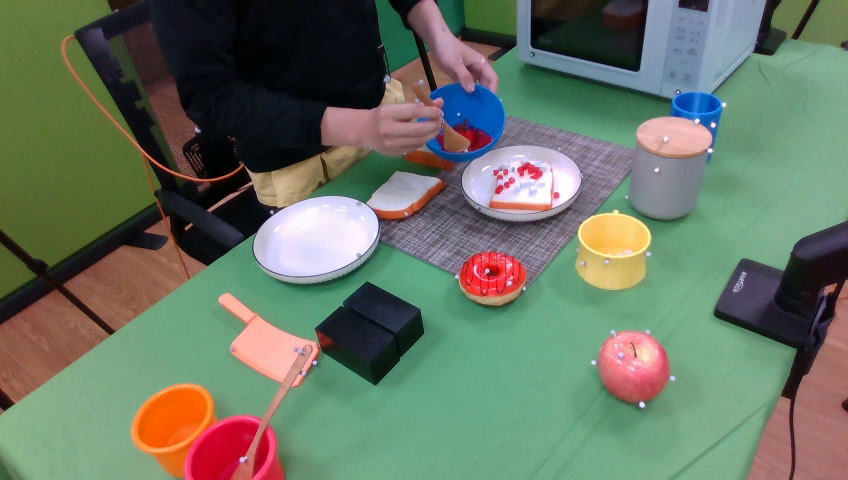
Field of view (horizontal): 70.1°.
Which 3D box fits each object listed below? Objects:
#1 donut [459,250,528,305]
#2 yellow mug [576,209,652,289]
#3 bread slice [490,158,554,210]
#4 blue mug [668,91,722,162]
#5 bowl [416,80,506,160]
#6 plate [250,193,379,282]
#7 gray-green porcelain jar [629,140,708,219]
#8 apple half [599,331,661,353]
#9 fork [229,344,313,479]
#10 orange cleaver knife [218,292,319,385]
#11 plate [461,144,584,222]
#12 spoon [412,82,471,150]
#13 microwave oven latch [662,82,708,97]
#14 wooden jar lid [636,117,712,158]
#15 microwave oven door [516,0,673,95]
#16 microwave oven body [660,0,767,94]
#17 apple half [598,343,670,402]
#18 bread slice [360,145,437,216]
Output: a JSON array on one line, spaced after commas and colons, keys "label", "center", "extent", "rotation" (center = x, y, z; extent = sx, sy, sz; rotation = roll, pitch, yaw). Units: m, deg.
[{"label": "donut", "center": [0.100, 0.053, 0.872], "extent": [0.099, 0.048, 0.098], "rotation": [-5, 40, 4]}, {"label": "yellow mug", "center": [0.279, 0.004, 0.893], "extent": [0.099, 0.064, 0.130], "rotation": [5, 42, 14]}, {"label": "bread slice", "center": [0.173, -0.100, 1.047], "extent": [0.104, 0.019, 0.131], "rotation": [4, 43, 12]}, {"label": "blue mug", "center": [0.474, -0.207, 1.079], "extent": [0.082, 0.106, 0.116], "rotation": [4, 42, 13]}, {"label": "bowl", "center": [0.065, -0.192, 1.040], "extent": [0.151, 0.077, 0.150], "rotation": [-2, 64, 4]}, {"label": "plate", "center": [-0.174, -0.001, 0.984], "extent": [0.209, 0.038, 0.208], "rotation": [-3, 40, 3]}, {"label": "gray-green porcelain jar", "center": [0.383, -0.104, 0.958], "extent": [0.106, 0.127, 0.105], "rotation": [-4, 41, 4]}, {"label": "apple half", "center": [0.249, 0.134, 0.738], "extent": [0.081, 0.081, 0.032], "rotation": [-1, 46, 7]}, {"label": "fork", "center": [-0.173, 0.205, 0.662], "extent": [0.028, 0.019, 0.207], "rotation": [29, 94, 35]}, {"label": "orange cleaver knife", "center": [-0.235, 0.136, 0.850], "extent": [0.209, 0.012, 0.077], "rotation": [25, 56, 30]}, {"label": "plate", "center": [0.167, -0.095, 1.040], "extent": [0.207, 0.039, 0.206], "rotation": [-4, 40, 4]}, {"label": "spoon", "center": [0.023, -0.174, 0.867], "extent": [0.041, 0.195, 0.021], "rotation": [-12, 65, 20]}, {"label": "microwave oven latch", "center": [0.518, -0.298, 1.203], "extent": [0.078, 0.029, 0.030], "rotation": [28, 53, 35]}, {"label": "wooden jar lid", "center": [0.377, -0.151, 0.917], "extent": [0.108, 0.021, 0.108], "rotation": [-2, 42, 2]}, {"label": "microwave oven door", "center": [0.344, -0.458, 1.257], "extent": [0.353, 0.245, 0.039], "rotation": [26, 52, 33]}, {"label": "microwave oven body", "center": [0.473, -0.517, 1.314], "extent": [0.438, 0.261, 0.327], "rotation": [26, 51, 34]}, {"label": "apple half", "center": [0.247, 0.161, 0.710], "extent": [0.081, 0.075, 0.053], "rotation": [2, 47, 5]}, {"label": "bread slice", "center": [-0.053, -0.103, 1.046], "extent": [0.106, 0.018, 0.134], "rotation": [19, 67, 22]}]
